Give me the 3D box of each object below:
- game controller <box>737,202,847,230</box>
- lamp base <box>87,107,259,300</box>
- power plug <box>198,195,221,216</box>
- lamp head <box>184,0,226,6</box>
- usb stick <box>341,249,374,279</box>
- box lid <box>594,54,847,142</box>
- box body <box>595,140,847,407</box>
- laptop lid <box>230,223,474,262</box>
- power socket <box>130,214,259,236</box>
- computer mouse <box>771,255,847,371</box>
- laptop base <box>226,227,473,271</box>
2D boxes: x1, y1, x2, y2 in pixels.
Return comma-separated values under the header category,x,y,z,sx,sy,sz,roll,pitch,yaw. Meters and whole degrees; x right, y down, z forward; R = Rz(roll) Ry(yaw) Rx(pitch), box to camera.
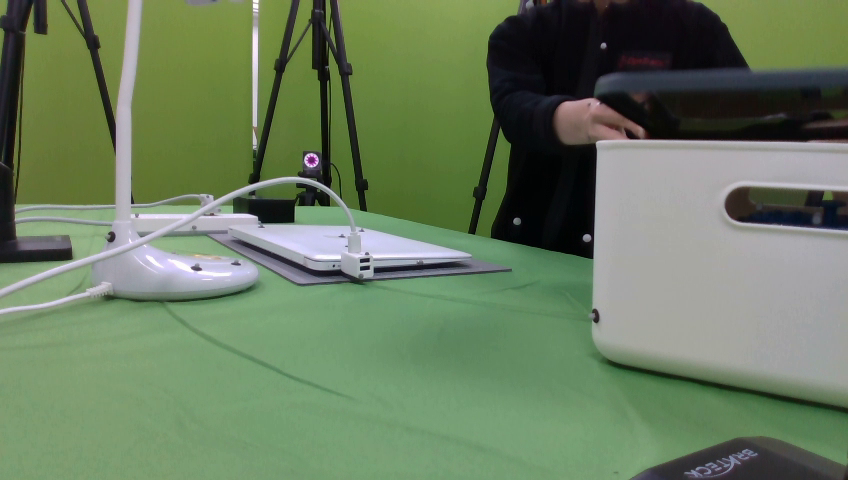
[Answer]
category,x,y,z,sx,sy,sz,roll,pitch,yaw
game controller,0.291,0.000,0.425,0.097,0.051,0.155,0,7,5
lamp base,-0.254,-0.039,0.603,0.160,0.180,0.179,5,10,18
power plug,-0.386,-0.055,1.088,0.035,0.052,0.072,-1,6,-24
lamp head,-0.229,-0.320,0.627,0.112,0.112,0.123,6,-36,26
usb stick,-0.078,0.026,0.686,0.021,0.027,0.059,-8,8,-30
box lid,0.310,-0.102,0.492,0.262,0.015,0.373,4,4,30
box body,0.309,0.007,0.509,0.253,0.160,0.366,6,8,29
laptop lid,-0.121,0.000,0.888,0.243,0.013,0.355,1,7,-33
power socket,-0.397,-0.028,1.048,0.228,0.032,0.072,-3,7,-35
computer mouse,0.345,0.057,0.519,0.063,0.041,0.117,12,47,4
laptop base,-0.124,0.011,0.888,0.237,0.023,0.352,2,6,-35
